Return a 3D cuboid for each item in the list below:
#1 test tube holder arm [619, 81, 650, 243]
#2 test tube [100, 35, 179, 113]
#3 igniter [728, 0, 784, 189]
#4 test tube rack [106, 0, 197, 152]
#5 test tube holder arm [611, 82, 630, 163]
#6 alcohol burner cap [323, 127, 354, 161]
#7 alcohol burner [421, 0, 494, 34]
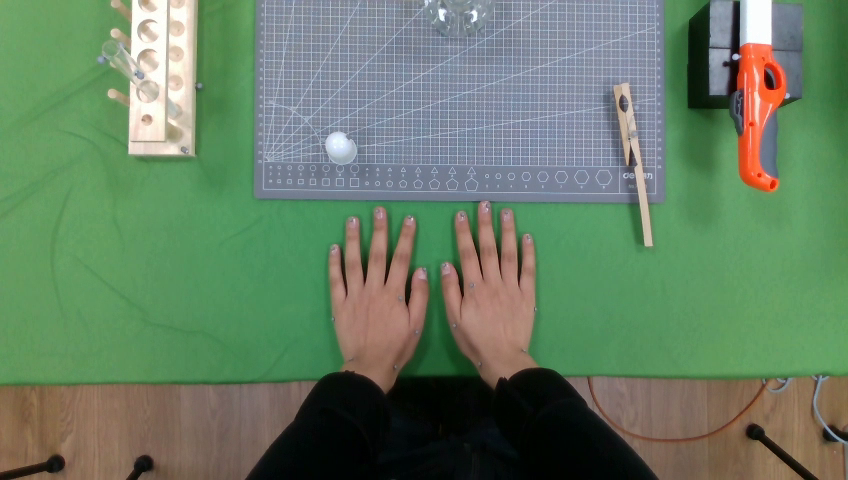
[{"bbox_3d":[0.230,-0.084,0.663,0.013,0.015,0.178,-10,92,21],"label":"test tube holder arm"},{"bbox_3d":[-0.260,-0.150,0.566,0.017,0.150,0.017,0,82,-3],"label":"test tube"},{"bbox_3d":[0.340,-0.189,0.620,0.057,0.025,0.276,2,86,-5],"label":"igniter"},{"bbox_3d":[-0.279,-0.217,0.616,0.067,0.085,0.242,1,89,-2],"label":"test tube rack"},{"bbox_3d":[0.216,-0.128,0.663,0.010,0.015,0.088,-10,92,21],"label":"test tube holder arm"},{"bbox_3d":[-0.092,-0.104,0.639,0.034,0.048,0.034,0,88,-4],"label":"alcohol burner cap"},{"bbox_3d":[0.035,-0.256,0.612,0.078,0.119,0.078,0,89,0],"label":"alcohol burner"}]
